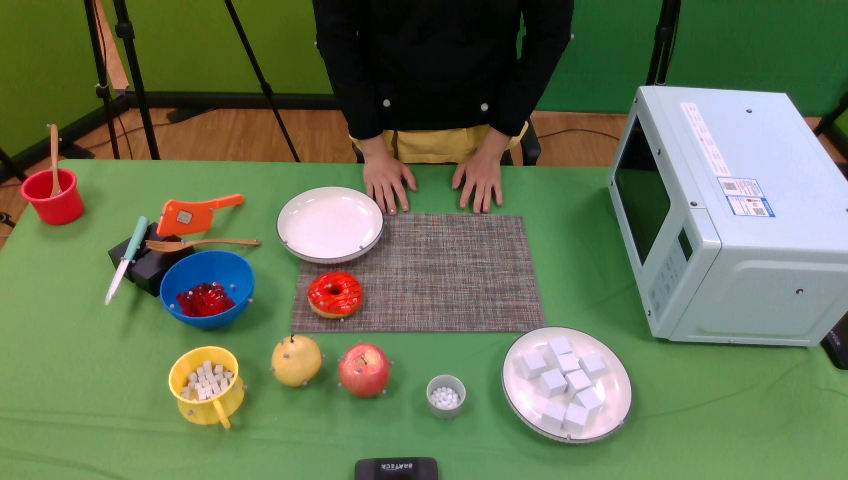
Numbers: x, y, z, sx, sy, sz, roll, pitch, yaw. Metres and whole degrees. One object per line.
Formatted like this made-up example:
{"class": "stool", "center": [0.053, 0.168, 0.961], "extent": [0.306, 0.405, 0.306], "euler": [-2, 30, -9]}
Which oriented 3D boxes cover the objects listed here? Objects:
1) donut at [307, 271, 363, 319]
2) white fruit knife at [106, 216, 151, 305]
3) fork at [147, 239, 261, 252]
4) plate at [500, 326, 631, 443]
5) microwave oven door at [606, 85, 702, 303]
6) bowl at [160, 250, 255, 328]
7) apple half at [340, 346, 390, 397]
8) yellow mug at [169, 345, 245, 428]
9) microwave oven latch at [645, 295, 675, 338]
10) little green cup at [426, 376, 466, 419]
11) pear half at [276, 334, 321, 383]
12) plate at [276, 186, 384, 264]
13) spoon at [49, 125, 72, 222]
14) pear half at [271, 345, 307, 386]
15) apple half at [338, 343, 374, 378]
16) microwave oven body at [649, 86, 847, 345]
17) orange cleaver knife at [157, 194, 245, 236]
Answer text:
{"class": "donut", "center": [-0.157, 0.097, 1.072], "extent": [0.099, 0.048, 0.098], "euler": [4, 45, -4]}
{"class": "white fruit knife", "center": [-0.519, 0.032, 1.066], "extent": [0.027, 0.016, 0.206], "euler": [-18, 45, 19]}
{"class": "fork", "center": [-0.399, 0.007, 1.118], "extent": [0.208, 0.019, 0.028], "euler": [-4, 36, -36]}
{"class": "plate", "center": [0.224, 0.234, 0.978], "extent": [0.208, 0.039, 0.206], "euler": [2, 46, -2]}
{"class": "microwave oven door", "center": [0.423, -0.094, 1.140], "extent": [0.039, 0.245, 0.353], "euler": [2, 46, -1]}
{"class": "bowl", "center": [-0.362, 0.097, 1.040], "extent": [0.151, 0.077, 0.150], "euler": [2, 45, -2]}
{"class": "apple half", "center": [-0.085, 0.214, 0.950], "extent": [0.081, 0.075, 0.053], "euler": [-29, 58, -32]}
{"class": "yellow mug", "center": [-0.322, 0.230, 0.922], "extent": [0.100, 0.064, 0.130], "euler": [-24, 53, -25]}
{"class": "microwave oven latch", "center": [0.411, 0.134, 1.061], "extent": [0.030, 0.029, 0.078], "euler": [3, 45, 0]}
{"class": "little green cup", "center": [0.033, 0.248, 0.950], "extent": [0.061, 0.039, 0.061], "euler": [2, 46, -2]}
{"class": "pear half", "center": [-0.195, 0.172, 0.957], "extent": [0.076, 0.110, 0.056], "euler": [27, 51, 16]}
{"class": "plate", "center": [-0.184, -0.027, 1.195], "extent": [0.209, 0.038, 0.208], "euler": [2, 46, -2]}
{"class": "spoon", "center": [-0.717, -0.131, 1.189], "extent": [0.041, 0.021, 0.193], "euler": [-3, 90, -7]}
{"class": "pear half", "center": [-0.216, 0.200, 0.943], "extent": [0.070, 0.088, 0.031], "euler": [27, 49, 14]}
{"class": "apple half", "center": [-0.112, 0.192, 0.968], "extent": [0.081, 0.081, 0.032], "euler": [-32, 59, -29]}
{"class": "microwave oven body", "center": [0.567, -0.053, 1.119], "extent": [0.326, 0.261, 0.439], "euler": [2, 45, -1]}
{"class": "orange cleaver knife", "center": [-0.427, -0.050, 1.175], "extent": [0.012, 0.077, 0.211], "euler": [22, 19, 20]}
